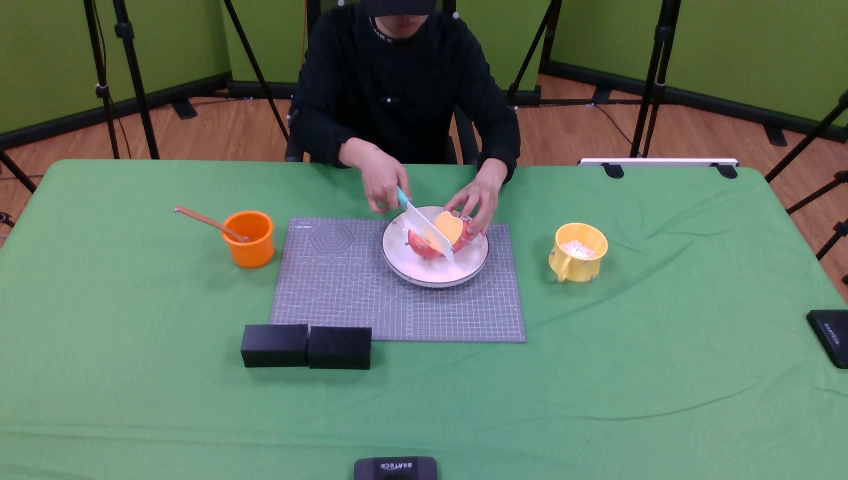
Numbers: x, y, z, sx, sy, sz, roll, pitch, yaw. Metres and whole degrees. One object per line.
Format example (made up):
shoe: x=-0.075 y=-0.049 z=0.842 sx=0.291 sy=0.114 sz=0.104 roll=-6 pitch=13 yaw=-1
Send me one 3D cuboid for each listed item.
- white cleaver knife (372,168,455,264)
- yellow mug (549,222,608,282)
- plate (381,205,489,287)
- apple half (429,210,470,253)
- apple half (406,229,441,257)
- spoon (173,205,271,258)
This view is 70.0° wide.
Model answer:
white cleaver knife: x=-0.026 y=-0.051 z=1.165 sx=0.021 sy=0.066 sz=0.284 roll=-26 pitch=49 yaw=-19
yellow mug: x=0.287 y=0.031 z=1.159 sx=0.099 sy=0.064 sz=0.130 roll=27 pitch=51 yaw=21
plate: x=0.021 y=0.015 z=1.170 sx=0.209 sy=0.038 sz=0.208 roll=2 pitch=46 yaw=-2
apple half: x=0.053 y=-0.011 z=1.165 sx=0.080 sy=0.053 sz=0.074 roll=26 pitch=90 yaw=42
apple half: x=-0.004 y=0.014 z=1.138 sx=0.081 sy=0.081 sz=0.033 roll=36 pitch=92 yaw=27
spoon: x=-0.362 y=-0.017 z=1.098 sx=0.021 sy=0.195 sz=0.041 roll=-32 pitch=42 yaw=27
